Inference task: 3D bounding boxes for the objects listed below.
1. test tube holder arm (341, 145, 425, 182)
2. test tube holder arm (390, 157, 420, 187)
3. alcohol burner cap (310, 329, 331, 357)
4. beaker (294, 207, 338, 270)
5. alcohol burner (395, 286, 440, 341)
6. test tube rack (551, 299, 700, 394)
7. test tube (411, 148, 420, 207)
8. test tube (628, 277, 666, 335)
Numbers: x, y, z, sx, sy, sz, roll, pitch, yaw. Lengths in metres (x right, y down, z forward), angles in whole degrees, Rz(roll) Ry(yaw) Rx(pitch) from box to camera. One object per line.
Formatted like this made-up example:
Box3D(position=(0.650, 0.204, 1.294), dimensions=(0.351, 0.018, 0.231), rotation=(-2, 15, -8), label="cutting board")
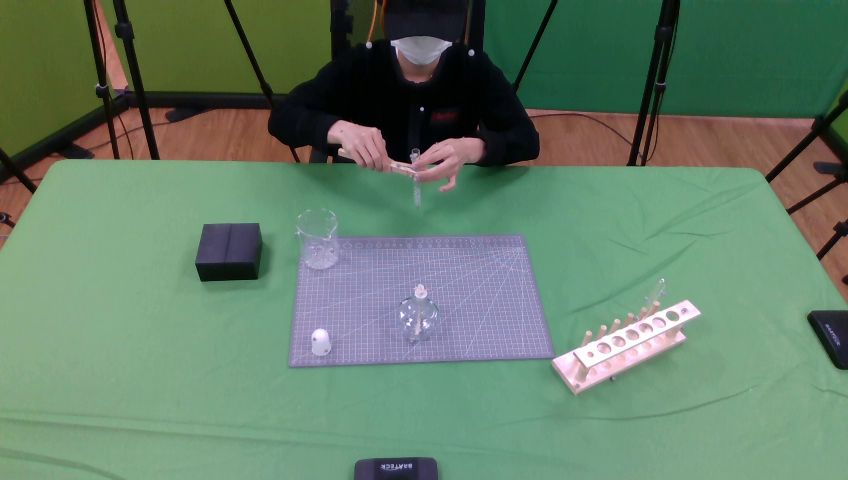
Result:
Box3D(position=(-0.081, -0.148, 1.166), dimensions=(0.178, 0.015, 0.013), rotation=(21, 45, 12), label="test tube holder arm")
Box3D(position=(-0.040, -0.131, 1.156), dimensions=(0.010, 0.015, 0.087), rotation=(-28, 54, -34), label="test tube holder arm")
Box3D(position=(-0.173, 0.168, 1.004), dimensions=(0.034, 0.048, 0.033), rotation=(2, 46, -2), label="alcohol burner cap")
Box3D(position=(-0.196, 0.003, 1.123), dimensions=(0.074, 0.101, 0.083), rotation=(-23, 53, -24), label="beaker")
Box3D(position=(-0.010, 0.116, 1.018), dimensions=(0.078, 0.119, 0.077), rotation=(3, 47, -3), label="alcohol burner")
Box3D(position=(0.339, 0.166, 1.021), dimensions=(0.242, 0.085, 0.066), rotation=(-19, 50, -21), label="test tube rack")
Box3D(position=(-0.016, -0.117, 1.175), dimensions=(0.017, 0.151, 0.017), rotation=(0, 50, 1), label="test tube")
Box3D(position=(0.371, 0.112, 1.014), dimensions=(0.017, 0.151, 0.017), rotation=(3, 47, -3), label="test tube")
